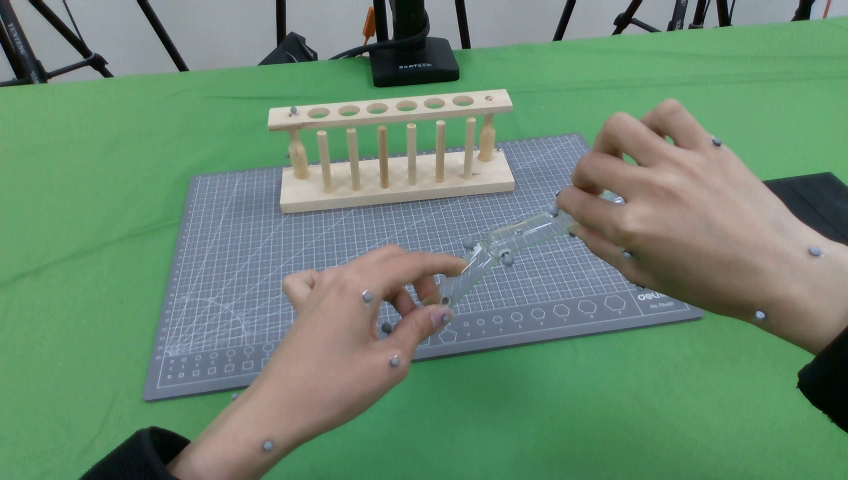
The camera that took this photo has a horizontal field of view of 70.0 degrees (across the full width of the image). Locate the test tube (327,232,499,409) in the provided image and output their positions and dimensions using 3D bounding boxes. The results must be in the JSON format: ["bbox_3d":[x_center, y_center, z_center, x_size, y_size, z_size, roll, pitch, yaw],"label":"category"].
[{"bbox_3d":[-0.010,0.052,0.362,0.017,0.150,0.017,37,20,-15],"label":"test tube"}]

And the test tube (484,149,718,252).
[{"bbox_3d":[0.105,-0.024,0.349,0.150,0.017,0.017,-20,44,-10],"label":"test tube"}]

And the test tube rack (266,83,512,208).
[{"bbox_3d":[-0.032,-0.098,0.623,0.243,0.086,0.066,-6,42,-5],"label":"test tube rack"}]
